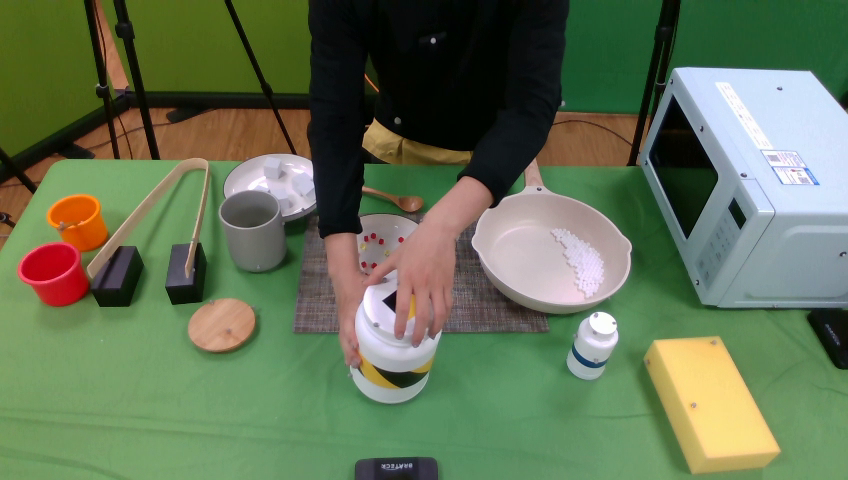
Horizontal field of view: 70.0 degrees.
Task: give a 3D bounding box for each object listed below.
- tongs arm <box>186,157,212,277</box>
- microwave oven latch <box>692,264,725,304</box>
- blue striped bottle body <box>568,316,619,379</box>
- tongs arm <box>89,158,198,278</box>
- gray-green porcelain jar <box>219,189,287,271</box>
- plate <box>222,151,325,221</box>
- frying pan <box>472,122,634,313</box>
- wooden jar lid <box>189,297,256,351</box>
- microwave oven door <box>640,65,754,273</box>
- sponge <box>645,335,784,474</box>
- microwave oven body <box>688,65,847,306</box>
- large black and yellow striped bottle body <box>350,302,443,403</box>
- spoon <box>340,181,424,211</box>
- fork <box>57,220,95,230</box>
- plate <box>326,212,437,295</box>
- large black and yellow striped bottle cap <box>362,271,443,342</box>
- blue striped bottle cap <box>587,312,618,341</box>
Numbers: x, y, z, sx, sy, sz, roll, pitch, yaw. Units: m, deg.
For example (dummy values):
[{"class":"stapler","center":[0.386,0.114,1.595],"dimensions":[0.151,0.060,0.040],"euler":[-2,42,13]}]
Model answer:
[{"class":"tongs arm","center":[-0.445,-0.058,1.168],"dimensions":[0.051,0.026,0.382],"euler":[-5,37,-6]},{"class":"microwave oven latch","center":[0.522,0.081,1.116],"dimensions":[0.030,0.029,0.078],"euler":[1,46,-2]},{"class":"blue striped bottle body","center":[0.277,0.168,0.984],"dimensions":[0.063,0.121,0.062],"euler":[2,46,-2]},{"class":"tongs arm","center":[-0.529,-0.057,1.164],"dimensions":[0.028,0.028,0.385],"euler":[1,36,8]},{"class":"gray-green porcelain jar","center":[-0.310,-0.014,1.113],"dimensions":[0.106,0.127,0.105],"euler":[2,46,-2]},{"class":"plate","center":[-0.310,-0.106,1.262],"dimensions":[0.208,0.039,0.206],"euler":[2,47,-2]},{"class":"frying pan","center":[0.236,-0.061,1.207],"dimensions":[0.307,0.103,0.484],"euler":[1,55,-6]},{"class":"wooden jar lid","center":[-0.342,0.145,1.033],"dimensions":[0.108,0.021,0.107],"euler":[3,45,-2]},{"class":"microwave oven door","center":[0.522,-0.147,1.193],"dimensions":[0.039,0.245,0.353],"euler":[0,47,-3]},{"class":"sponge","center":[0.449,0.253,0.956],"dimensions":[0.118,0.061,0.205],"euler":[-4,46,-7]},{"class":"microwave oven body","center":[0.669,-0.111,1.176],"dimensions":[0.326,0.261,0.439],"euler":[0,46,-3]},{"class":"large black and yellow striped bottle body","center":[-0.043,0.151,0.927],"dimensions":[0.131,0.185,0.130],"euler":[6,48,-6]},{"class":"spoon","center":[-0.090,-0.100,1.282],"dimensions":[0.193,0.022,0.041],"euler":[18,67,12]},{"class":"fork","center":[-0.624,-0.027,1.086],"dimensions":[0.028,0.207,0.018],"euler":[-3,92,-17]},{"class":"plate","center":[-0.080,0.030,1.143],"dimensions":[0.209,0.038,0.208],"euler":[2,46,-2]},{"class":"large black and yellow striped bottle cap","center":[-0.031,0.092,0.863],"dimensions":[0.115,0.019,0.114],"euler":[6,48,-6]},{"class":"blue striped bottle cap","center":[0.279,0.134,0.947],"dimensions":[0.044,0.021,0.044],"euler":[2,45,-2]}]
